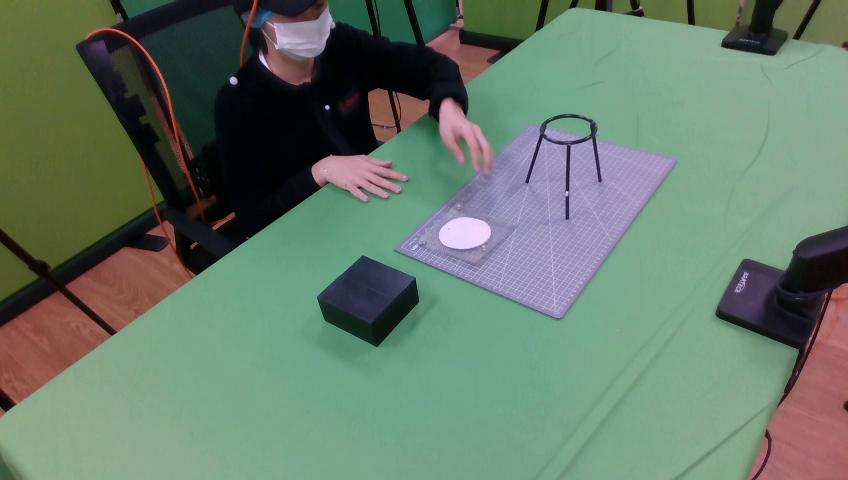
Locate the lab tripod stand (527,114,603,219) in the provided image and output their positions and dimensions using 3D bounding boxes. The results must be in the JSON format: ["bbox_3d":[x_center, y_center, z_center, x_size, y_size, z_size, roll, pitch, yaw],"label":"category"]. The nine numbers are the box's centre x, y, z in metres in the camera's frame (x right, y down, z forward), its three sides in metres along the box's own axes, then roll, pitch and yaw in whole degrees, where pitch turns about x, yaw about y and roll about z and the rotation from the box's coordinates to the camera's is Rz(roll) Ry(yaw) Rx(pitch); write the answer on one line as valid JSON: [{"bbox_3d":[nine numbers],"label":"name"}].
[{"bbox_3d":[0.234,-0.129,1.002,0.148,0.132,0.147,-6,40,6],"label":"lab tripod stand"}]

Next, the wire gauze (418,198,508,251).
[{"bbox_3d":[0.065,-0.028,0.982,0.124,0.011,0.121,2,42,22],"label":"wire gauze"}]
